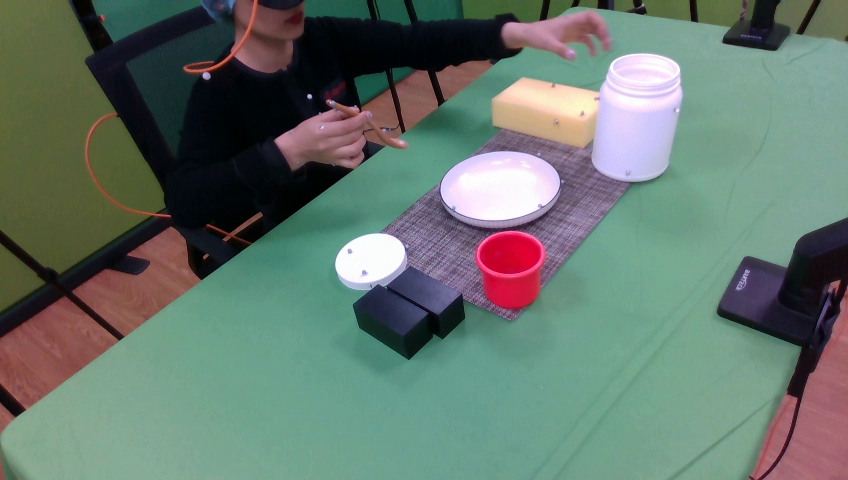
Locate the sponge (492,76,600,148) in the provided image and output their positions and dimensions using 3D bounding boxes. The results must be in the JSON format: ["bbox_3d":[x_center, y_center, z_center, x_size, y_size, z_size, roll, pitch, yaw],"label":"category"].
[{"bbox_3d":[0.254,-0.259,1.207,0.205,0.061,0.118,22,47,31],"label":"sponge"}]

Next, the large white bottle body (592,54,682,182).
[{"bbox_3d":[0.361,-0.207,1.027,0.130,0.185,0.130,-3,41,3],"label":"large white bottle body"}]

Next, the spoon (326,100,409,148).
[{"bbox_3d":[-0.085,-0.180,0.936,0.041,0.195,0.021,35,95,34],"label":"spoon"}]

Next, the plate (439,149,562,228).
[{"bbox_3d":[0.131,-0.085,1.040,0.209,0.038,0.208,-5,40,5],"label":"plate"}]

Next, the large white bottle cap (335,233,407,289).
[{"bbox_3d":[-0.085,0.032,0.961,0.115,0.018,0.114,-6,42,6],"label":"large white bottle cap"}]
